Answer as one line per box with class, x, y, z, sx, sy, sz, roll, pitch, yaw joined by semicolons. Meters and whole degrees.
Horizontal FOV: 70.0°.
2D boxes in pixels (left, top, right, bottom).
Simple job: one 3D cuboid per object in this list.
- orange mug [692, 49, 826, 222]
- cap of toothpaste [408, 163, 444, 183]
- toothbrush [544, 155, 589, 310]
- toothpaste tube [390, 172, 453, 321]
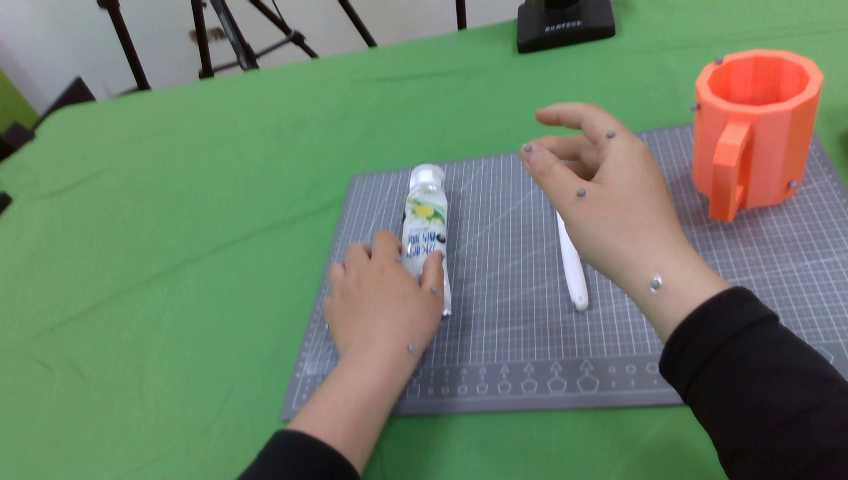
orange mug;0.255;-0.077;0.479;0.083;0.102;0.126;17;50;34
cap of toothpaste;0.002;-0.062;0.598;0.037;0.038;0.011;-6;54;15
toothbrush;0.122;-0.014;0.525;0.014;0.017;0.180;-1;46;1
toothpaste tube;-0.002;-0.001;0.552;0.055;0.035;0.163;-13;49;17
